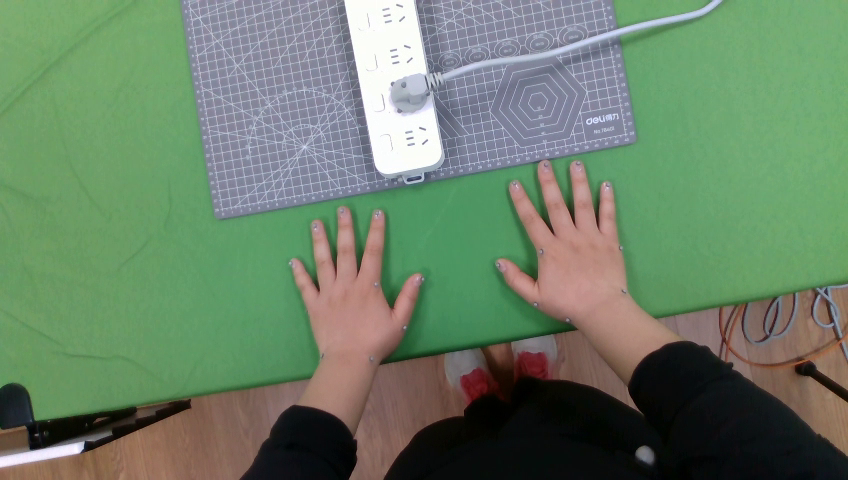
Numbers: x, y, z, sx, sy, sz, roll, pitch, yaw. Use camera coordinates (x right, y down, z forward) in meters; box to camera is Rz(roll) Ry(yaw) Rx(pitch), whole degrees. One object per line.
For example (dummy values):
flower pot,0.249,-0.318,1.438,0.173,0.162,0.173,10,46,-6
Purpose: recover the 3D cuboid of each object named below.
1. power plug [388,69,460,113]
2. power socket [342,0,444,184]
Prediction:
power plug,0.000,-0.145,0.600,0.072,0.053,0.035,0,90,3
power socket,-0.033,-0.171,0.622,0.072,0.032,0.226,-11,88,4
